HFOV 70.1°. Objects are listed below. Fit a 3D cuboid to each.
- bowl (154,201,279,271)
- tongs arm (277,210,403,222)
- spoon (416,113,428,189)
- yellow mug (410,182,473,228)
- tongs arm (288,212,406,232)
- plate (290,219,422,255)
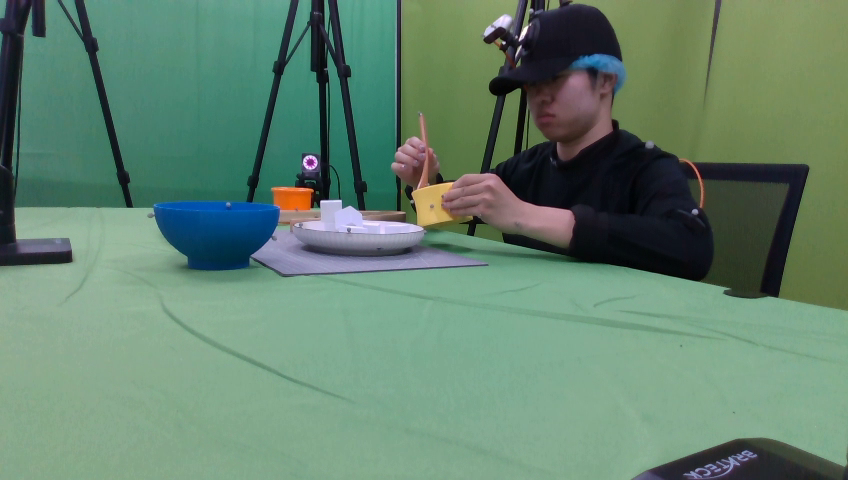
[{"bbox_3d":[-0.263,-0.005,0.773,0.151,0.077,0.151,3,8,0],"label":"bowl"},{"bbox_3d":[-0.206,-0.051,1.332,0.387,0.026,0.050,-2,8,-44],"label":"tongs arm"},{"bbox_3d":[-0.001,-0.138,1.082,0.021,0.193,0.042,-9,-16,39],"label":"spoon"},{"bbox_3d":[0.038,-0.062,1.043,0.100,0.064,0.130,-8,-3,-29],"label":"yellow mug"},{"bbox_3d":[-0.146,-0.039,1.280,0.028,0.028,0.389,3,6,33],"label":"tongs arm"},{"bbox_3d":[-0.108,-0.005,0.963,0.208,0.039,0.207,3,7,0],"label":"plate"}]
